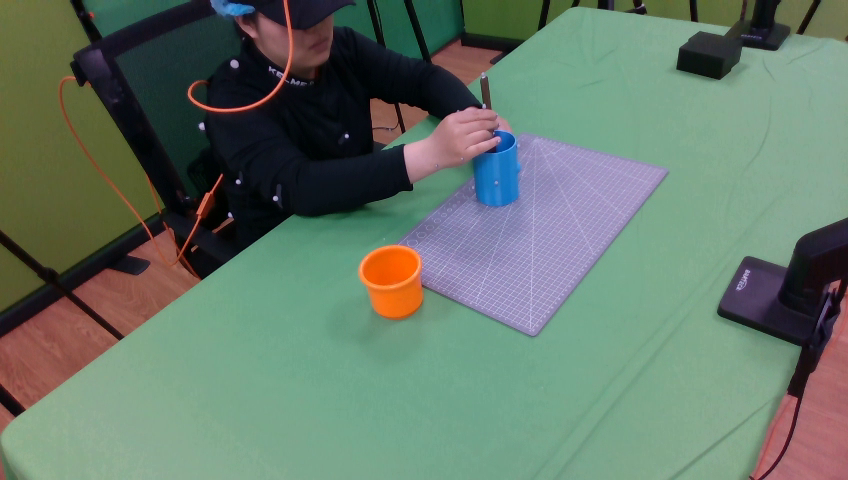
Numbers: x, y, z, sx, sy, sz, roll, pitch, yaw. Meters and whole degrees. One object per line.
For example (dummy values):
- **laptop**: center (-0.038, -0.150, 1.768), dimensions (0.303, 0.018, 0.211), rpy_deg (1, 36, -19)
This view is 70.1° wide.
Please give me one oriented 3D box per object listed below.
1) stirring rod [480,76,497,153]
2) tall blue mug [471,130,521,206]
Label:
- **stirring rod**: center (0.108, -0.191, 0.992), dimensions (0.014, 0.177, 0.005), rpy_deg (-37, 49, -21)
- **tall blue mug**: center (0.118, -0.132, 1.046), dimensions (0.078, 0.108, 0.106), rpy_deg (-19, 41, -10)
